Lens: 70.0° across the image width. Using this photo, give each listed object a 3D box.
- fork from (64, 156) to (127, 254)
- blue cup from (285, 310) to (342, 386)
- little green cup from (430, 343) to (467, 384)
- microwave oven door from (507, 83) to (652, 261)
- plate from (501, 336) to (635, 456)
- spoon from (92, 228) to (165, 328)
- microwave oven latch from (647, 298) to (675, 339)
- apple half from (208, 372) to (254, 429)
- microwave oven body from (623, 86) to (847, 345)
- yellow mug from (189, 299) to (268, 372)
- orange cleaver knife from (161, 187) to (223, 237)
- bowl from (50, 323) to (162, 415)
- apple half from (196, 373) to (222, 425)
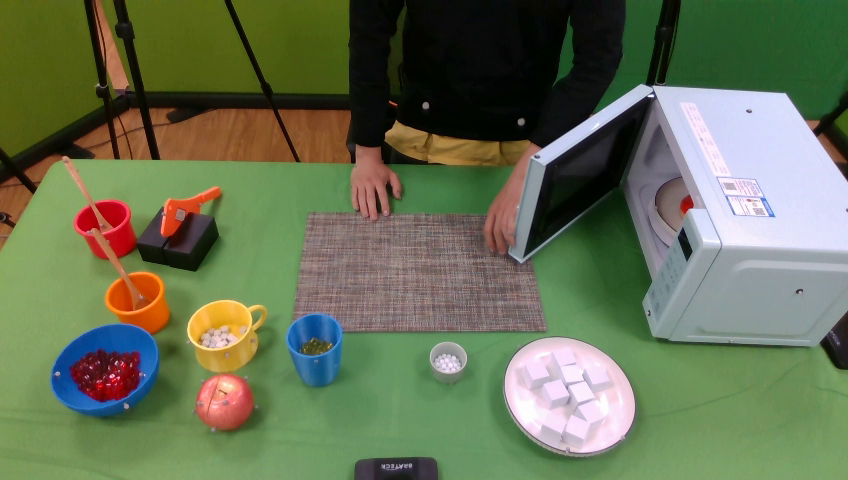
[{"bbox_3d":[-0.614,-0.064,1.130,0.028,0.018,0.207,-29,97,-17],"label":"fork"},{"bbox_3d":[-0.170,0.179,0.958,0.093,0.101,0.092,1,44,-1],"label":"blue cup"},{"bbox_3d":[0.038,0.203,0.994,0.061,0.039,0.061,2,46,-2],"label":"little green cup"},{"bbox_3d":[0.304,-0.135,1.172,0.356,0.245,0.039,-34,57,-31],"label":"microwave oven door"},{"bbox_3d":[0.225,0.248,0.963,0.208,0.039,0.206,2,46,-2],"label":"plate"},{"bbox_3d":[-0.496,0.063,1.014,0.041,0.194,0.021,-33,12,-31],"label":"spoon"},{"bbox_3d":[0.413,0.134,1.060,0.030,0.029,0.078,5,45,2],"label":"microwave oven latch"},{"bbox_3d":[-0.282,0.244,0.908,0.053,0.075,0.080,7,43,-1],"label":"apple half"},{"bbox_3d":[0.567,-0.053,1.118,0.326,0.261,0.439,2,45,-1],"label":"microwave oven body"},{"bbox_3d":[-0.316,0.148,1.002,0.131,0.064,0.099,-32,56,-31],"label":"yellow mug"},{"bbox_3d":[-0.448,-0.058,1.181,0.012,0.077,0.211,13,17,6],"label":"orange cleaver knife"},{"bbox_3d":[-0.472,0.209,0.924,0.151,0.077,0.150,3,45,-2],"label":"bowl"},{"bbox_3d":[-0.322,0.240,0.907,0.033,0.081,0.081,7,46,0],"label":"apple half"}]
